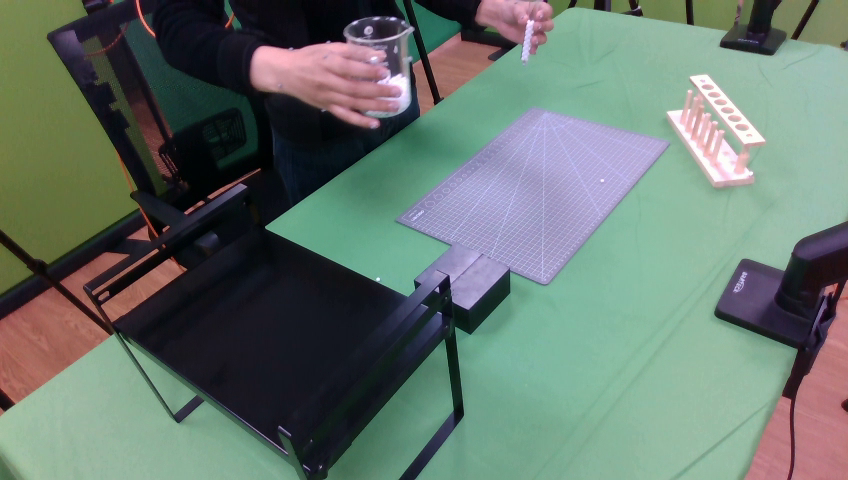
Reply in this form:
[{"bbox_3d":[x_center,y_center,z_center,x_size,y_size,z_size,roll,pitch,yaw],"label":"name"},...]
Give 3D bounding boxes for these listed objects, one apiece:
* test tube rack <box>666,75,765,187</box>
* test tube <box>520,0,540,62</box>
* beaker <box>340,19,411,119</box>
[{"bbox_3d":[0.512,-0.201,1.082,0.067,0.085,0.241,-6,41,2],"label":"test tube rack"},{"bbox_3d":[0.174,-0.359,0.980,0.017,0.150,0.017,2,44,-1],"label":"test tube"},{"bbox_3d":[-0.054,-0.206,0.734,0.084,0.100,0.073,-11,41,-9],"label":"beaker"}]
